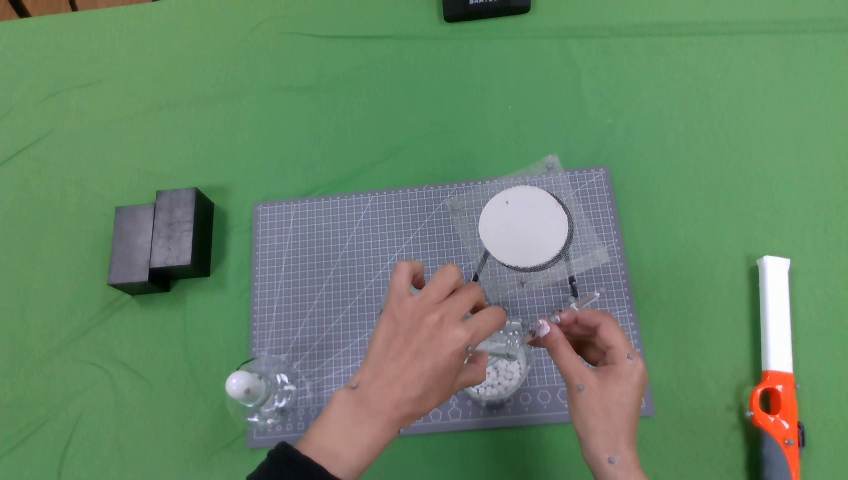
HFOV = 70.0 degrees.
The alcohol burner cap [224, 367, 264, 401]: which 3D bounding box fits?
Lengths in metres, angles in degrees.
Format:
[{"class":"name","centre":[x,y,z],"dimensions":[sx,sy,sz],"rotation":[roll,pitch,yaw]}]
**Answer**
[{"class":"alcohol burner cap","centre":[-0.183,0.143,0.610],"dimensions":[0.034,0.048,0.033],"rotation":[0,69,1]}]

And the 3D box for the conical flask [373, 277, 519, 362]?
[{"class":"conical flask","centre":[0.020,0.077,0.532],"dimensions":[0.122,0.076,0.075],"rotation":[8,72,3]}]

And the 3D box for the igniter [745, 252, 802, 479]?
[{"class":"igniter","centre":[0.368,0.146,0.641],"dimensions":[0.057,0.025,0.275],"rotation":[9,73,-2]}]

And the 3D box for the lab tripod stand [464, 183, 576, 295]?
[{"class":"lab tripod stand","centre":[0.104,0.008,0.654],"dimensions":[0.148,0.132,0.147],"rotation":[-2,73,6]}]

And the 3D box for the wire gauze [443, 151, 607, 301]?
[{"class":"wire gauze","centre":[0.096,-0.015,0.591],"dimensions":[0.125,0.011,0.120],"rotation":[-22,72,-1]}]

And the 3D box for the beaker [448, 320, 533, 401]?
[{"class":"beaker","centre":[0.069,0.130,0.635],"dimensions":[0.084,0.101,0.073],"rotation":[-8,71,3]}]

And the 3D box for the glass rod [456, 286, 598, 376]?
[{"class":"glass rod","centre":[0.085,0.087,0.549],"dimensions":[0.008,0.200,0.008],"rotation":[19,50,-25]}]

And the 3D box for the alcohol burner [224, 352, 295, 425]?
[{"class":"alcohol burner","centre":[-0.180,0.156,0.643],"dimensions":[0.078,0.120,0.077],"rotation":[-1,72,4]}]
